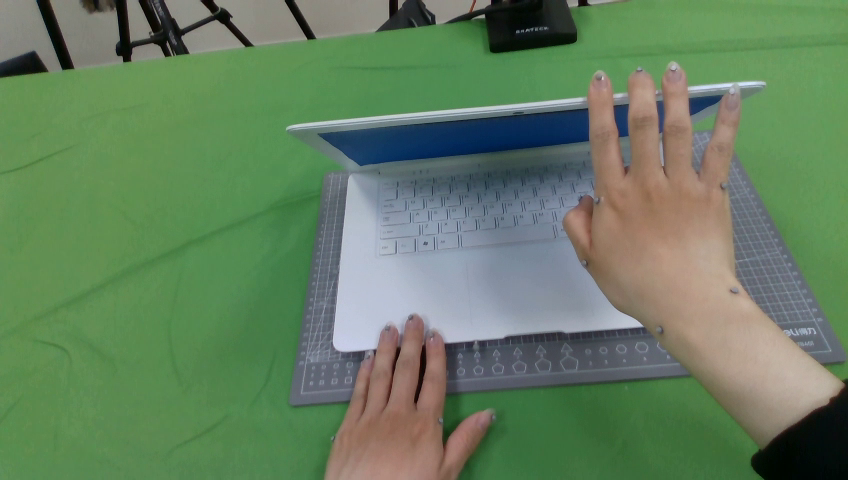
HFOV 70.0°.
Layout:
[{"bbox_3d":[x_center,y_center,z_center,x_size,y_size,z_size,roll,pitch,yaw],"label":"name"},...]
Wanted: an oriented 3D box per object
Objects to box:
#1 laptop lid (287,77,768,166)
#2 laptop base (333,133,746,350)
[{"bbox_3d":[0.079,-0.100,0.548,0.356,0.242,0.013,-5,91,6],"label":"laptop lid"},{"bbox_3d":[0.093,-0.006,0.592,0.354,0.023,0.233,-6,51,4],"label":"laptop base"}]
